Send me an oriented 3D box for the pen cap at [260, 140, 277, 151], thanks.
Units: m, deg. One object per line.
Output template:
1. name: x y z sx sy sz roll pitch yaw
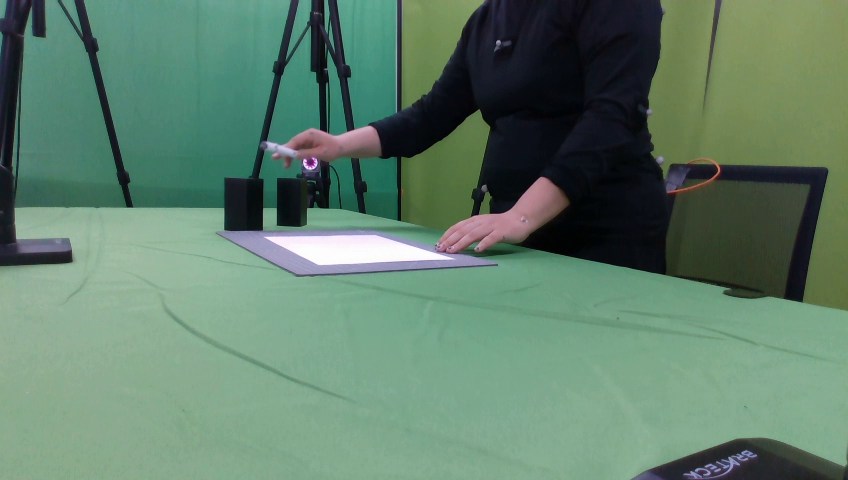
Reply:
1. pen cap: -0.288 -0.175 1.123 0.017 0.017 0.038 5 0 16

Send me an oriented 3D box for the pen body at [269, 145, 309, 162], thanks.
1. pen body: -0.272 -0.171 1.185 0.017 0.017 0.145 6 -1 24
